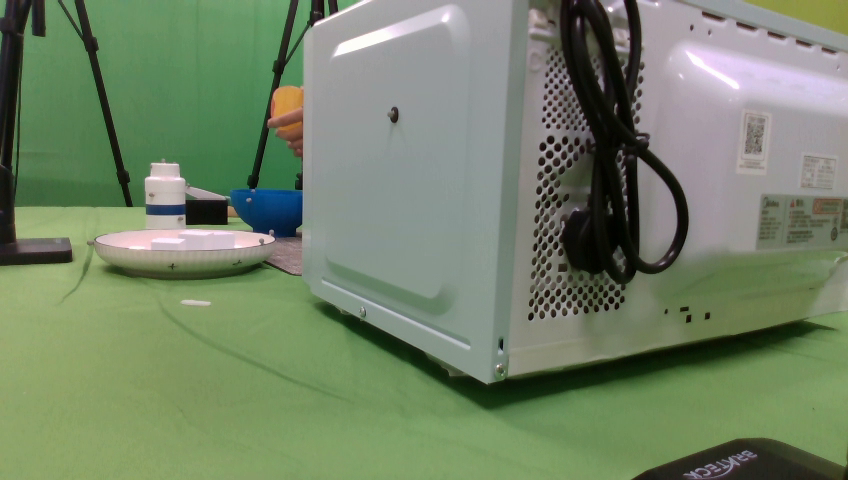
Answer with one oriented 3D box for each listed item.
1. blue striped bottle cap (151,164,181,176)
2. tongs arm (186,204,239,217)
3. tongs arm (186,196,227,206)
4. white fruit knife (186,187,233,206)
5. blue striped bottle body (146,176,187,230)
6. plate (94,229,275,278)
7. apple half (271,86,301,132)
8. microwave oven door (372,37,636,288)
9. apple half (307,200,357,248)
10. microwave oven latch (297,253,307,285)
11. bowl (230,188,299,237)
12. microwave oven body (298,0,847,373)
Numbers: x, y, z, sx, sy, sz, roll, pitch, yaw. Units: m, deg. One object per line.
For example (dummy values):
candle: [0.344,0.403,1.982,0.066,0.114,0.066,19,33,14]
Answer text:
blue striped bottle cap: [-0.428,-0.116,1.002,0.044,0.020,0.044,1,6,0]
tongs arm: [-0.396,-0.066,1.399,0.389,0.028,0.028,1,5,-15]
tongs arm: [-0.404,-0.081,1.479,0.385,0.026,0.050,3,8,-2]
white fruit knife: [-0.413,-0.081,1.270,0.208,0.027,0.016,18,14,-41]
blue striped bottle body: [-0.430,-0.065,1.010,0.063,0.120,0.063,2,7,0]
plate: [-0.291,0.016,0.749,0.208,0.039,0.207,2,7,0]
apple half: [-0.228,-0.223,1.036,0.082,0.081,0.032,-2,14,-33]
microwave oven door: [0.110,-0.080,0.686,0.358,0.243,0.039,-2,9,-33]
apple half: [-0.135,-0.024,0.941,0.053,0.074,0.081,13,9,38]
microwave oven latch: [-0.082,0.027,0.582,0.079,0.029,0.030,-1,7,-32]
bowl: [-0.264,-0.048,1.066,0.151,0.077,0.151,3,8,0]
microwave oven body: [0.151,-0.055,0.542,0.444,0.260,0.324,-2,7,-33]
